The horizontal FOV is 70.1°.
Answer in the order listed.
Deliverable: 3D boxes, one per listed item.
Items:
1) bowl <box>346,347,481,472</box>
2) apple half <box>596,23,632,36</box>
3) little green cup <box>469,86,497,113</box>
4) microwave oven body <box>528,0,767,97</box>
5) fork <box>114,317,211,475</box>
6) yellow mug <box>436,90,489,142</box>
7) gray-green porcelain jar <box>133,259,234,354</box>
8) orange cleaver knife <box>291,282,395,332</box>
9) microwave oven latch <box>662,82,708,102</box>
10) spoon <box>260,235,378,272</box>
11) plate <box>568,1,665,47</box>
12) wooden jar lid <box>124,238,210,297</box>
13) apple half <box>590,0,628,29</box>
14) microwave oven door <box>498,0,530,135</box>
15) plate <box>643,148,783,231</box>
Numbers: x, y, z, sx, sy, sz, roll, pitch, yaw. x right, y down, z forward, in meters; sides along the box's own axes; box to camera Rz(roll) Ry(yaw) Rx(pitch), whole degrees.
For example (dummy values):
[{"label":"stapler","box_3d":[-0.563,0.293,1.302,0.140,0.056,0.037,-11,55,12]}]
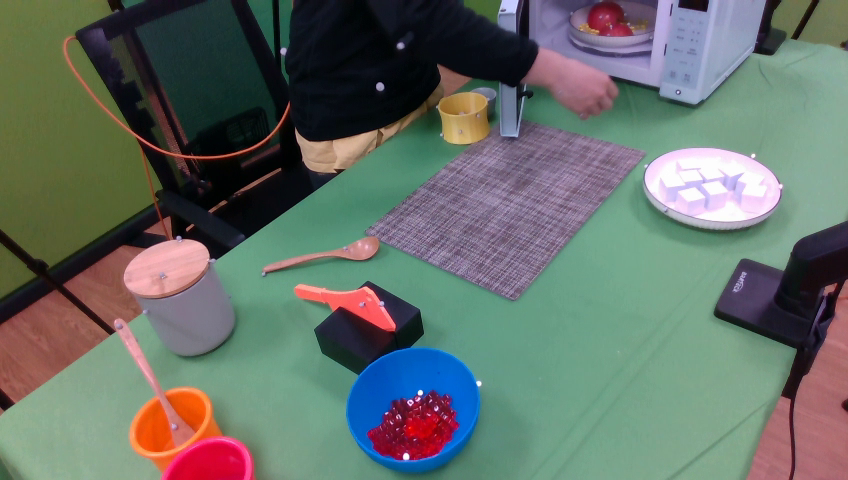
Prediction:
[{"label":"bowl","box_3d":[-0.008,0.205,0.690,0.151,0.077,0.150,-4,40,4]},{"label":"apple half","box_3d":[0.417,-0.460,1.328,0.081,0.033,0.081,-2,38,2]},{"label":"little green cup","box_3d":[0.124,-0.297,1.285,0.061,0.039,0.061,-3,41,3]},{"label":"microwave oven body","box_3d":[0.473,-0.516,1.314,0.438,0.261,0.327,26,52,34]},{"label":"fork","box_3d":[-0.309,0.180,0.708,0.028,0.018,0.207,-29,89,-26]},{"label":"yellow mug","box_3d":[0.069,-0.257,1.224,0.100,0.064,0.129,-33,45,-27]},{"label":"gray-green porcelain jar","box_3d":[-0.328,0.087,0.836,0.106,0.127,0.105,-4,41,4]},{"label":"orange cleaver knife","box_3d":[-0.116,0.091,0.835,0.209,0.077,0.012,1,32,47]},{"label":"microwave oven latch","box_3d":[0.518,-0.298,1.203,0.078,0.029,0.030,28,53,35]},{"label":"spoon","box_3d":[-0.168,0.024,0.966,0.194,0.022,0.041,-10,58,-3]},{"label":"plate","box_3d":[0.431,-0.486,1.366,0.209,0.038,0.208,-4,41,4]},{"label":"wooden jar lid","box_3d":[-0.335,0.039,0.794,0.108,0.021,0.108,-2,40,2]},{"label":"apple half","box_3d":[0.419,-0.523,1.379,0.081,0.054,0.074,-42,39,-15]},{"label":"microwave oven door","box_3d":[0.186,-0.411,1.225,0.039,0.245,0.355,3,42,12]},{"label":"plate","box_3d":[0.464,-0.080,0.986,0.207,0.039,0.206,-4,41,4]}]
